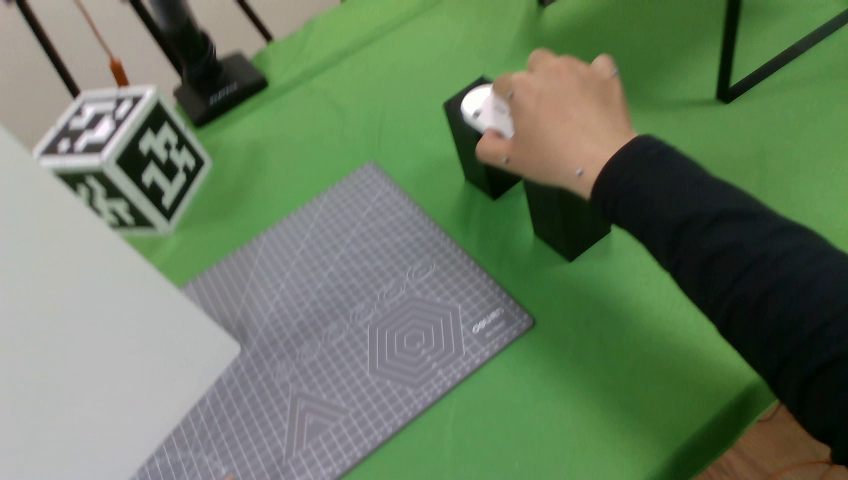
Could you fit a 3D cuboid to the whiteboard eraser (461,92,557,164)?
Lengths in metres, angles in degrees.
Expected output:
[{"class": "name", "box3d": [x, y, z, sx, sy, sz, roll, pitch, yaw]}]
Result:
[{"class": "whiteboard eraser", "box3d": [0.070, -0.099, 0.520, 0.041, 0.019, 0.100, -36, 50, -13]}]

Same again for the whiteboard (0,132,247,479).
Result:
[{"class": "whiteboard", "box3d": [-0.350, 0.073, 0.511, 0.143, 0.308, 0.216, 9, 54, 51]}]
